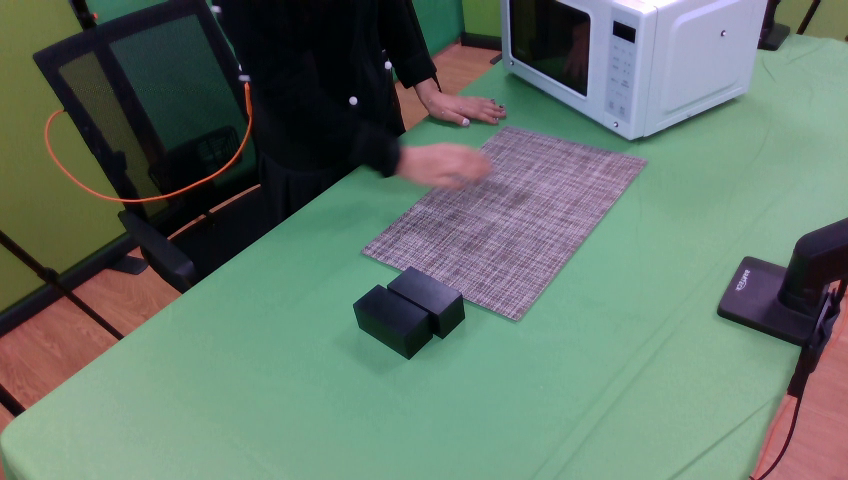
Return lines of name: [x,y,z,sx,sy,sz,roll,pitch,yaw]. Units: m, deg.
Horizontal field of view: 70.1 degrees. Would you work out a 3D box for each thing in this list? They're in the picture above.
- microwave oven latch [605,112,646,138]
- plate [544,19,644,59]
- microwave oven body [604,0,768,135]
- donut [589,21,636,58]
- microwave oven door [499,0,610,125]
microwave oven latch: [0.375,-0.217,1.130,0.030,0.029,0.078,-24,42,-16]
plate: [0.359,-0.427,1.291,0.209,0.038,0.208,1,34,0]
microwave oven body: [0.411,-0.441,1.235,0.327,0.261,0.437,-25,42,-16]
donut: [0.403,-0.429,1.295,0.099,0.048,0.098,1,54,-1]
microwave oven door: [0.261,-0.410,1.219,0.039,0.245,0.352,-24,42,-17]
